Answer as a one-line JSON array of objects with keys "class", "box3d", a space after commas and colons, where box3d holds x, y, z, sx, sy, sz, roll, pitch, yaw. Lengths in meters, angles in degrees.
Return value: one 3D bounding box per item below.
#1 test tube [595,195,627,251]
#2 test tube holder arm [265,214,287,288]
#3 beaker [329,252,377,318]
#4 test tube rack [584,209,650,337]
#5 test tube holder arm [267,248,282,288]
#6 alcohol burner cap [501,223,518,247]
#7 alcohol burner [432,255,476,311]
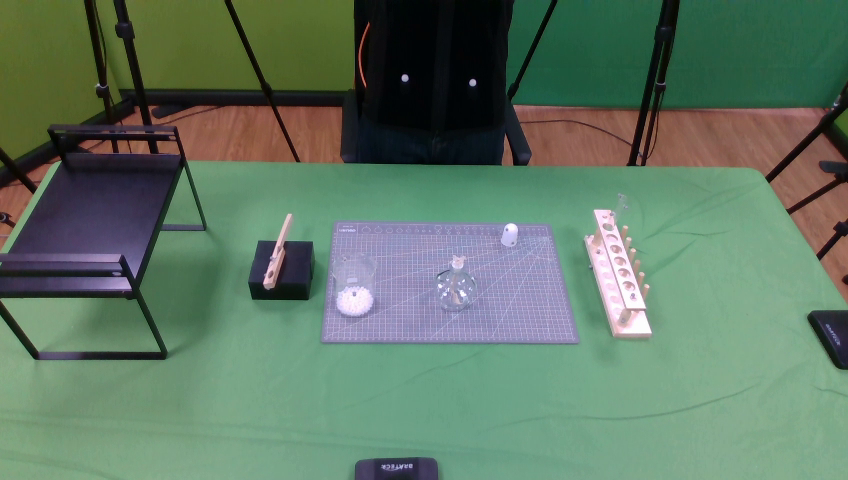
[{"class": "test tube", "box3d": [0.350, -0.029, 1.140, 0.017, 0.151, 0.017, 3, 50, -3]}, {"class": "test tube holder arm", "box3d": [-0.268, 0.016, 1.099, 0.013, 0.015, 0.177, 2, 45, -4]}, {"class": "beaker", "box3d": [-0.121, 0.080, 1.055, 0.084, 0.101, 0.073, -16, 50, -19]}, {"class": "test tube rack", "box3d": [0.365, 0.056, 1.129, 0.067, 0.085, 0.240, 1, 46, -4]}, {"class": "test tube holder arm", "box3d": [-0.262, 0.048, 1.068, 0.010, 0.015, 0.087, 4, 45, -3]}, {"class": "alcohol burner cap", "box3d": [0.172, -0.013, 1.206, 0.034, 0.048, 0.033, 1, 46, -1]}, {"class": "alcohol burner", "box3d": [0.055, 0.070, 1.068, 0.078, 0.119, 0.077, 3, 45, -3]}]
